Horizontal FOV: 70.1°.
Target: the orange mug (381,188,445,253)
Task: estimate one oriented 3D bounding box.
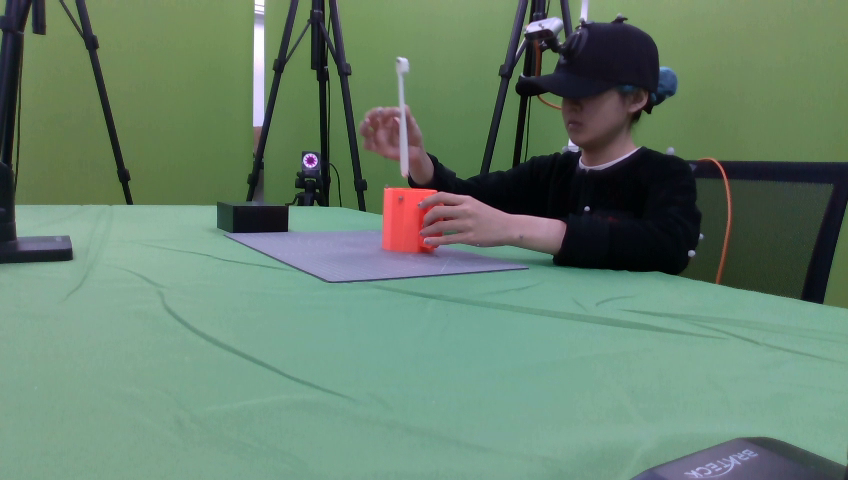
[{"bbox_3d":[-0.013,-0.031,0.941,0.084,0.100,0.125,-2,4,-37],"label":"orange mug"}]

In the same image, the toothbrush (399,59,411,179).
[{"bbox_3d":[-0.028,-0.185,0.936,0.014,0.182,0.017,13,23,35],"label":"toothbrush"}]
